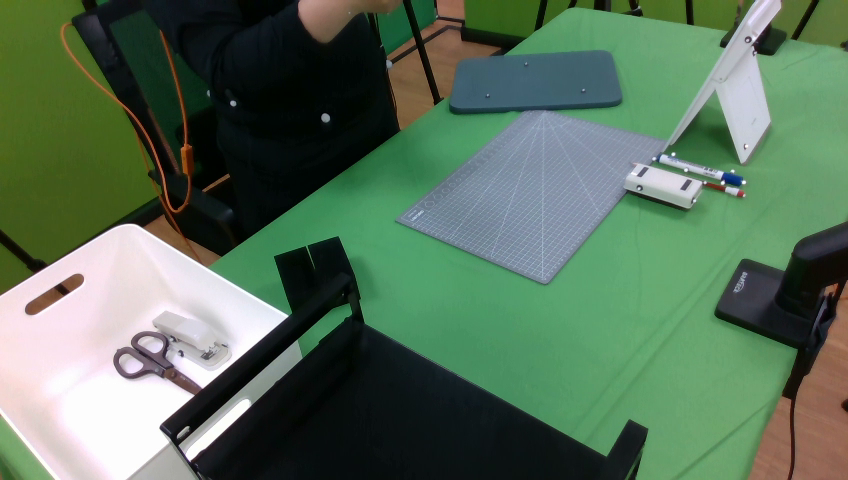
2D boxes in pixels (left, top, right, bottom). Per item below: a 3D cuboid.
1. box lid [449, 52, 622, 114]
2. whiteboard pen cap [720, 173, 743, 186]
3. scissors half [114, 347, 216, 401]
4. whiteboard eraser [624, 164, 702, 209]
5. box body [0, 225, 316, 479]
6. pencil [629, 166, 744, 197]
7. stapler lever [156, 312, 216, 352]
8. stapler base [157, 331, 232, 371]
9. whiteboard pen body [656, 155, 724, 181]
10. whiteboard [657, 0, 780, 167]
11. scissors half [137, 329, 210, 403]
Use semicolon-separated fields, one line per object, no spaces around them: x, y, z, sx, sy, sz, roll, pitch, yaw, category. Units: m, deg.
0.249;-0.358;1.370;0.371;0.015;0.262;-1;40;9;box lid
0.519;-0.103;1.020;0.033;0.018;0.018;23;49;29;whiteboard pen cap
-0.348;0.185;0.811;0.174;0.013;0.040;15;53;19;scissors half
0.396;-0.087;1.003;0.112;0.042;0.056;22;47;31;whiteboard eraser
-0.339;0.162;0.728;0.361;0.161;0.255;23;48;31;box body
0.447;-0.103;1.038;0.192;0.012;0.012;21;48;29;pencil
-0.331;0.122;0.835;0.117;0.040;0.027;17;43;33;stapler lever
-0.326;0.142;0.849;0.129;0.024;0.041;18;43;32;stapler base
0.475;-0.123;1.052;0.139;0.017;0.017;24;50;32;whiteboard pen body
0.571;-0.272;1.038;0.143;0.306;0.218;37;54;17;whiteboard
-0.336;0.172;0.822;0.174;0.013;0.040;34;56;31;scissors half
